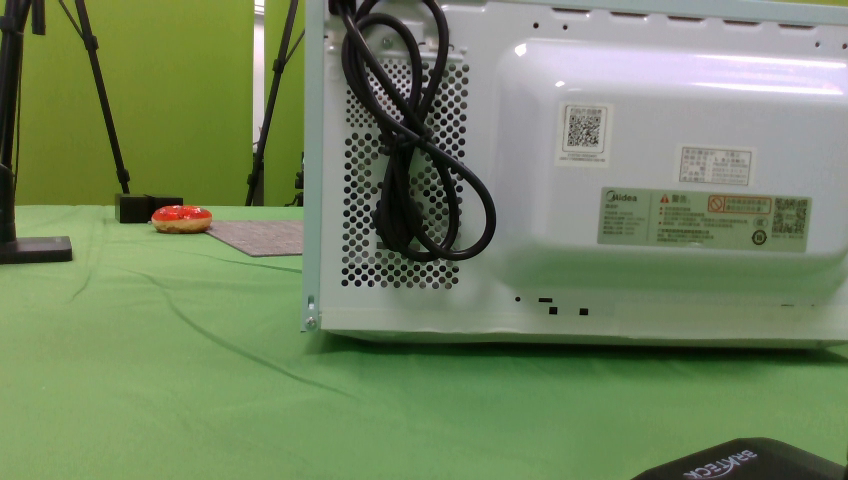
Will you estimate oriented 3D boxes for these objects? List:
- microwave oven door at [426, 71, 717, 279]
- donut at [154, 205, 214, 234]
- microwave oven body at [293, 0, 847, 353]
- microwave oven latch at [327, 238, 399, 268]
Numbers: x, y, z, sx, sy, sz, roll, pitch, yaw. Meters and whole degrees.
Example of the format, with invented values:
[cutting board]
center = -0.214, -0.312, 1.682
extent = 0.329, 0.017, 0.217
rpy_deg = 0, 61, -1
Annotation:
[microwave oven door]
center = 0.174, -0.089, 0.781
extent = 0.354, 0.243, 0.039
rpy_deg = 5, 6, 25
[donut]
center = -0.426, -0.037, 1.075
extent = 0.099, 0.048, 0.099
rpy_deg = 2, 12, 0
[microwave oven body]
center = 0.122, -0.055, 0.550
extent = 0.442, 0.260, 0.325
rpy_deg = 3, 7, -5
[microwave oven latch]
center = -0.069, 0.015, 0.694
extent = 0.079, 0.029, 0.030
rpy_deg = 3, 7, -3
